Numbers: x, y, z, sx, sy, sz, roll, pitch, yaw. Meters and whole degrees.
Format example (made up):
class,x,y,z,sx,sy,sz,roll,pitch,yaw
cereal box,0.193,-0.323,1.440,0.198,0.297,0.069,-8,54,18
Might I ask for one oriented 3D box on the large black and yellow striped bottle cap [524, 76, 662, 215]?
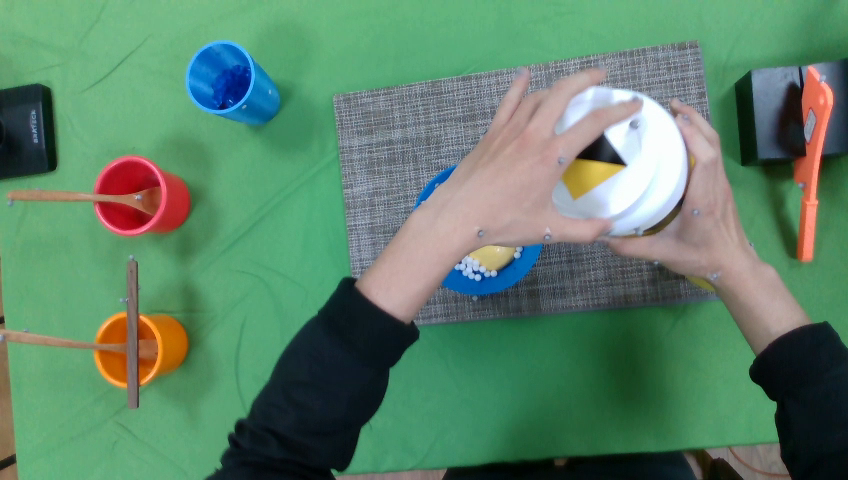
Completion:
class,x,y,z,sx,sy,sz,roll,pitch,yaw
large black and yellow striped bottle cap,0.138,-0.079,0.508,0.114,0.019,0.115,-1,89,36

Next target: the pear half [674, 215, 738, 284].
class,x,y,z,sx,sy,sz,roll,pitch,yaw
pear half,0.306,0.014,0.657,0.056,0.110,0.076,-26,81,7

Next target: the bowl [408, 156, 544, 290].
class,x,y,z,sx,sy,sz,roll,pitch,yaw
bowl,0.062,-0.017,0.706,0.151,0.077,0.151,0,88,8

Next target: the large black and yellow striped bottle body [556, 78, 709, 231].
class,x,y,z,sx,sy,sz,roll,pitch,yaw
large black and yellow striped bottle body,0.187,-0.077,0.577,0.130,0.185,0.130,-1,88,35

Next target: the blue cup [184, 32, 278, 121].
class,x,y,z,sx,sy,sz,roll,pitch,yaw
blue cup,-0.227,-0.187,0.742,0.092,0.100,0.092,0,88,10

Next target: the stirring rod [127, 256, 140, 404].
class,x,y,z,sx,sy,sz,roll,pitch,yaw
stirring rod,-0.346,0.107,0.722,0.014,0.006,0.176,-2,88,6

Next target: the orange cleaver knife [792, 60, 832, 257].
class,x,y,z,sx,sy,sz,roll,pitch,yaw
orange cleaver knife,0.418,-0.085,0.662,0.012,0.077,0.213,-4,116,13

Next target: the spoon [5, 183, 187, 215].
class,x,y,z,sx,sy,sz,roll,pitch,yaw
spoon,-0.393,-0.055,0.739,0.195,0.021,0.041,1,90,-36

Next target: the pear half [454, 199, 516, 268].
class,x,y,z,sx,sy,sz,roll,pitch,yaw
pear half,0.066,-0.012,0.699,0.070,0.031,0.087,-33,80,4

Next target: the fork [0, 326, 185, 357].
class,x,y,z,sx,sy,sz,roll,pitch,yaw
fork,-0.397,0.121,0.730,0.209,0.018,0.028,14,99,-36
